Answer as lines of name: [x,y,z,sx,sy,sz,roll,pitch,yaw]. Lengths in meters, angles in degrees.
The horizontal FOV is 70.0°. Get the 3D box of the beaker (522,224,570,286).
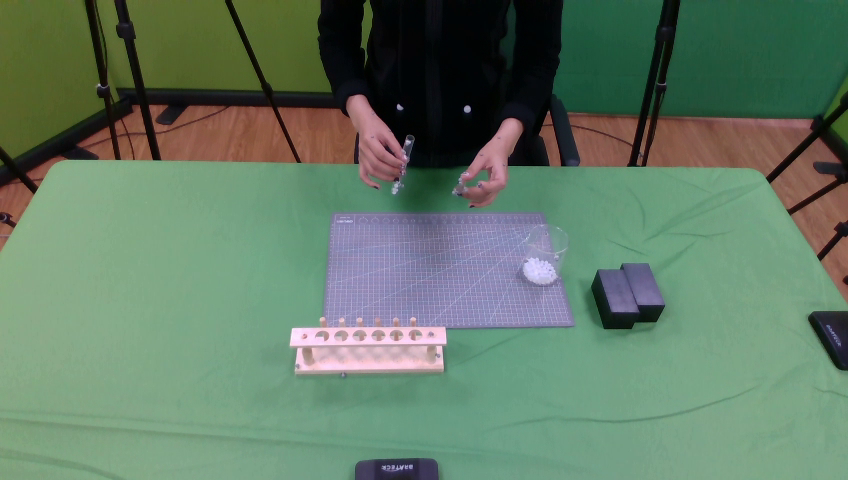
beaker: [0.221,0.032,1.129,0.084,0.101,0.073,-6,46,-9]

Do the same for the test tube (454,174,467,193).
test tube: [0.064,-0.099,1.050,0.017,0.017,0.150,8,13,5]

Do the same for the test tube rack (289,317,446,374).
test tube rack: [-0.089,0.167,0.987,0.242,0.085,0.066,0,46,-4]

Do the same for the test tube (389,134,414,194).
test tube: [-0.043,-0.135,1.111,0.017,0.151,0.017,9,51,-11]
